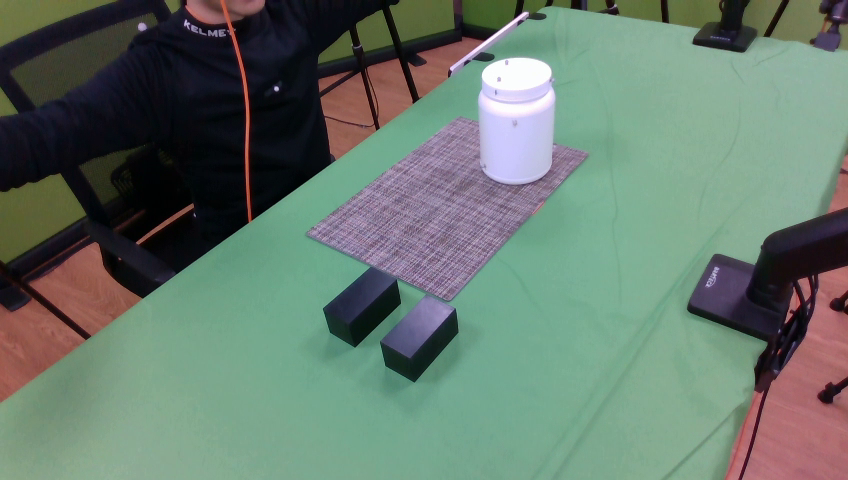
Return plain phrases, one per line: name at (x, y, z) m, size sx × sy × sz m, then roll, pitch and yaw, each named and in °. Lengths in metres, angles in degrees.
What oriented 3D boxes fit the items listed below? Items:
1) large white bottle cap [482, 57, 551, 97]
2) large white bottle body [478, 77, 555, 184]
large white bottle cap at (0.153, -0.270, 0.999) m, size 0.115 × 0.018 × 0.114 m, roll -3°, pitch 41°, yaw 3°
large white bottle body at (0.161, -0.206, 1.054) m, size 0.130 × 0.185 × 0.130 m, roll -4°, pitch 41°, yaw 4°
